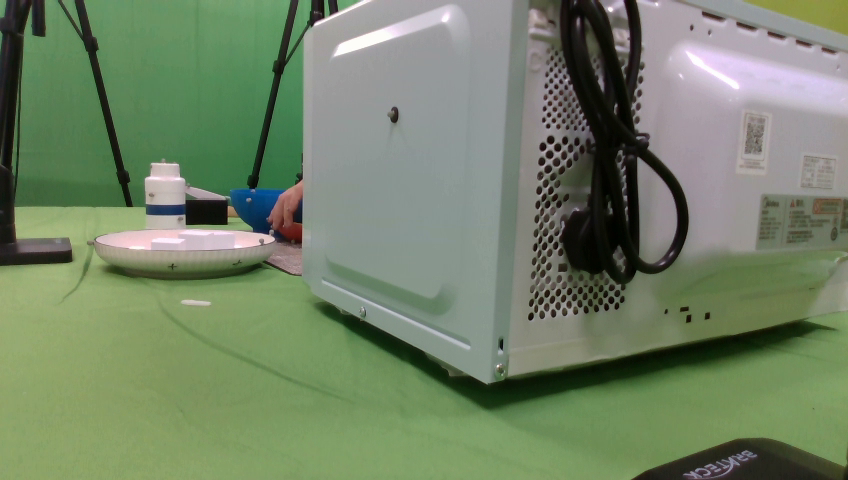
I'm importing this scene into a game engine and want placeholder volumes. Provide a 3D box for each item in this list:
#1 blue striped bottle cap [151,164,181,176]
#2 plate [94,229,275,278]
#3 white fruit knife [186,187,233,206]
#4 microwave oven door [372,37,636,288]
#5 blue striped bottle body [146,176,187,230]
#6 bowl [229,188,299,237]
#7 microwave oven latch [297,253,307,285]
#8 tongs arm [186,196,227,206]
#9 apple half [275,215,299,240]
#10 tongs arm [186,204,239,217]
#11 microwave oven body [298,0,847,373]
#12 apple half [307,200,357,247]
[{"bbox_3d":[-0.428,-0.116,1.002,0.044,0.020,0.044,1,6,0],"label":"blue striped bottle cap"},{"bbox_3d":[-0.291,0.016,0.750,0.208,0.039,0.207,2,7,0],"label":"plate"},{"bbox_3d":[-0.413,-0.081,1.270,0.208,0.027,0.016,18,13,-42],"label":"white fruit knife"},{"bbox_3d":[0.110,-0.080,0.686,0.358,0.243,0.039,-2,9,-33],"label":"microwave oven door"},{"bbox_3d":[-0.430,-0.065,1.010,0.063,0.120,0.063,2,7,0],"label":"blue striped bottle body"},{"bbox_3d":[-0.265,-0.048,1.066,0.151,0.077,0.151,3,8,0],"label":"bowl"},{"bbox_3d":[-0.082,0.027,0.582,0.079,0.029,0.030,-1,7,-32],"label":"microwave oven latch"},{"bbox_3d":[-0.404,-0.081,1.479,0.385,0.026,0.050,3,8,-2],"label":"tongs arm"},{"bbox_3d":[-0.205,-0.015,0.986,0.081,0.033,0.081,15,-4,2],"label":"apple half"},{"bbox_3d":[-0.396,-0.066,1.399,0.389,0.028,0.028,1,5,-15],"label":"tongs arm"},{"bbox_3d":[0.151,-0.055,0.542,0.444,0.260,0.324,-2,7,-33],"label":"microwave oven body"},{"bbox_3d":[-0.135,-0.024,0.941,0.053,0.074,0.081,14,9,38],"label":"apple half"}]
